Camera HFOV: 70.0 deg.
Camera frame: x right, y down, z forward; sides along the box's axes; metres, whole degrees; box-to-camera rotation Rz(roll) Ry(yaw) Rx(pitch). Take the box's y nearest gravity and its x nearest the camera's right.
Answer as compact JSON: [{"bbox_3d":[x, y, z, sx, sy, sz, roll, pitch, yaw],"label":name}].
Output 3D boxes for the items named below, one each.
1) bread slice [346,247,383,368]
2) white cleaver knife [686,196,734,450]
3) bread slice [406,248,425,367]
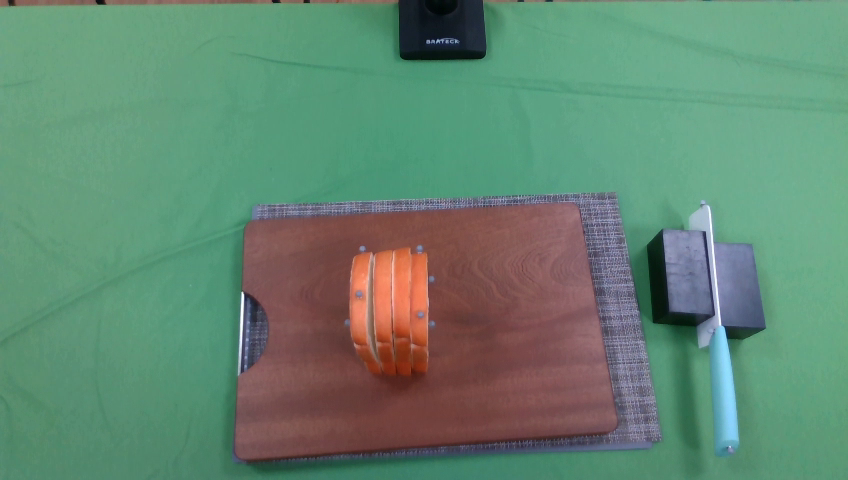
[{"bbox_3d":[-0.059,0.065,0.613,0.019,0.132,0.104,-3,67,3],"label":"bread slice"},{"bbox_3d":[0.319,0.087,0.681,0.021,0.066,0.284,3,69,7],"label":"white cleaver knife"},{"bbox_3d":[-0.009,0.068,0.611,0.018,0.135,0.106,-1,72,-2],"label":"bread slice"}]
